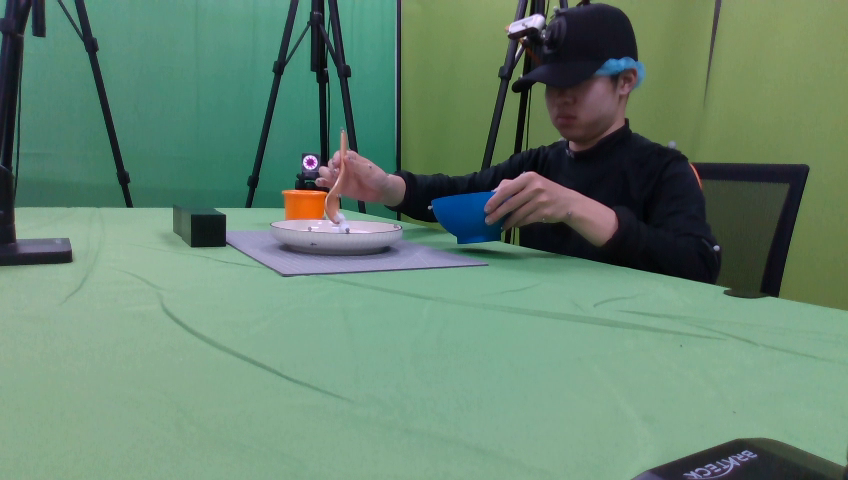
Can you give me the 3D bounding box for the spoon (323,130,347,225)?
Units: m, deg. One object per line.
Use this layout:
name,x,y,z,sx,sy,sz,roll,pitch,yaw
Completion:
spoon,-0.140,-0.107,0.993,0.021,0.193,0.042,-10,-35,24

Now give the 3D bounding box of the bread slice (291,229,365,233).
bread slice,-0.143,-0.003,0.953,0.135,0.018,0.106,-1,8,-37

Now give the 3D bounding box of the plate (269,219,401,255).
plate,-0.140,-0.006,0.958,0.209,0.038,0.209,3,7,0

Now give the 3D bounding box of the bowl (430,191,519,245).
bowl,0.087,-0.034,1.007,0.151,0.076,0.151,-5,-1,0
